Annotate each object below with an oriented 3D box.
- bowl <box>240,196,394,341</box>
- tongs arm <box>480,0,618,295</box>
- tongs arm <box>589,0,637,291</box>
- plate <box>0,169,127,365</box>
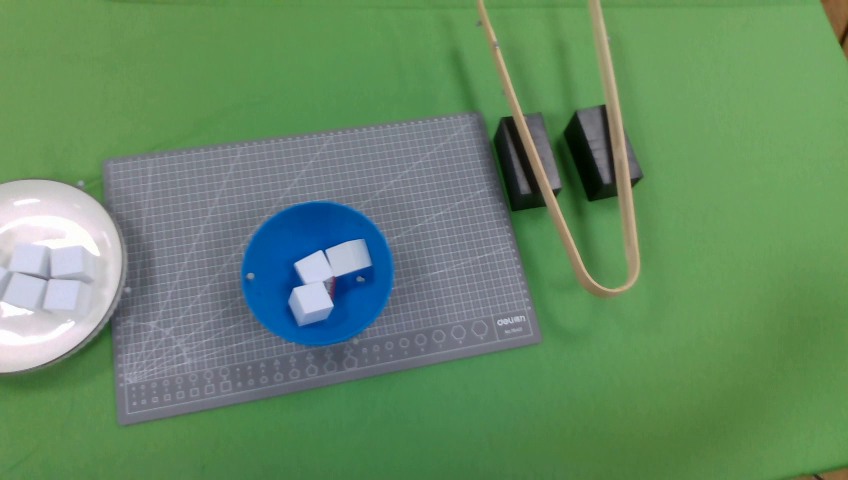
[{"bbox_3d":[-0.109,0.038,0.635,0.151,0.077,0.150,2,71,-6],"label":"bowl"},{"bbox_3d":[0.136,-0.119,0.692,0.051,0.026,0.382,-10,73,-11],"label":"tongs arm"},{"bbox_3d":[0.213,-0.128,0.703,0.028,0.028,0.385,3,71,-10],"label":"tongs arm"},{"bbox_3d":[-0.414,0.027,0.629,0.208,0.039,0.206,2,72,-4],"label":"plate"}]
